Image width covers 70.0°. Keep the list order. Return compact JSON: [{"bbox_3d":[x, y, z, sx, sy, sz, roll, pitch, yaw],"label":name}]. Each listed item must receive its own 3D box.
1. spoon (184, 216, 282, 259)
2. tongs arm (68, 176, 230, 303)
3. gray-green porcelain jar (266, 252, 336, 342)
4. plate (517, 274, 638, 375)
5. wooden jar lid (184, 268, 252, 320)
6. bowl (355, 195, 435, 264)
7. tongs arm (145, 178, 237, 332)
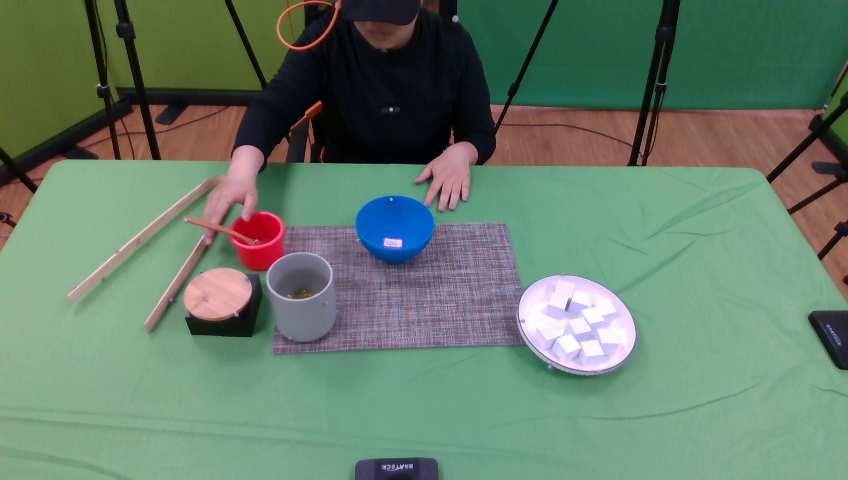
[{"bbox_3d":[-0.341,-0.008,1.096,0.021,0.195,0.041,-36,47,25],"label":"spoon"},{"bbox_3d":[-0.510,-0.011,1.162,0.050,0.026,0.383,20,47,14],"label":"tongs arm"},{"bbox_3d":[-0.202,0.100,1.009,0.106,0.127,0.105,2,46,-2],"label":"gray-green porcelain jar"},{"bbox_3d":[0.264,0.149,1.060,0.209,0.038,0.208,3,46,-3],"label":"plate"},{"bbox_3d":[-0.343,0.092,1.015,0.108,0.021,0.107,3,46,-3],"label":"wooden jar lid"},{"bbox_3d":[-0.056,-0.008,1.158,0.151,0.077,0.150,2,46,-2],"label":"bowl"},{"bbox_3d":[-0.432,0.014,1.149,0.028,0.028,0.385,8,46,7],"label":"tongs arm"}]
